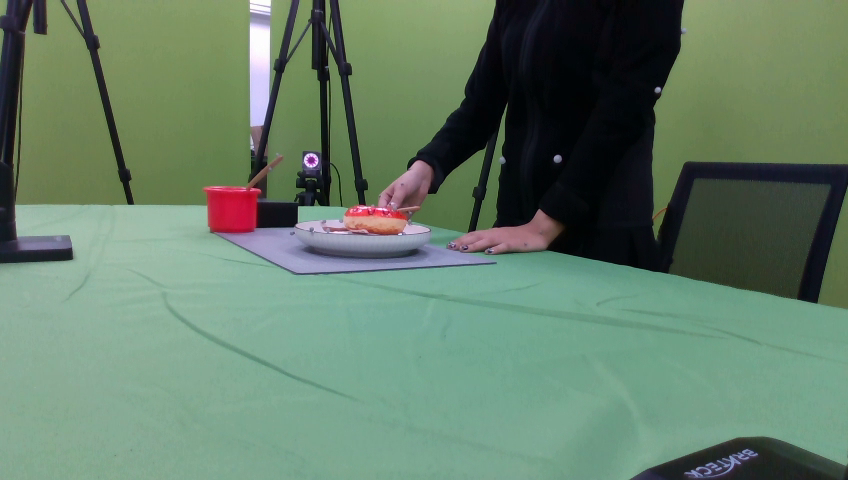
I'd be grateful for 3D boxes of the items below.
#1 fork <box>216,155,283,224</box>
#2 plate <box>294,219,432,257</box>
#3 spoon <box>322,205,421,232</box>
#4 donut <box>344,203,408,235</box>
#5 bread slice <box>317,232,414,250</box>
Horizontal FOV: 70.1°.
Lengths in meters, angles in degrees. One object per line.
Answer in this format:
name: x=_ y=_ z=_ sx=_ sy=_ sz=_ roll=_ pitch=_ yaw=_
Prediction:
fork: x=-0.304 y=-0.084 z=1.054 sx=0.207 sy=0.018 sz=0.028 roll=-42 pitch=-19 yaw=30
plate: x=-0.092 y=-0.003 z=0.923 sx=0.209 sy=0.038 sz=0.209 roll=3 pitch=7 yaw=0
spoon: x=-0.082 y=-0.037 z=1.005 sx=0.194 sy=0.021 sz=0.041 roll=-20 pitch=8 yaw=-34
donut: x=-0.074 y=-0.031 z=0.931 sx=0.099 sy=0.048 sz=0.099 roll=4 pitch=3 yaw=0
bread slice: x=-0.093 y=0.000 z=0.915 sx=0.132 sy=0.019 sz=0.104 roll=0 pitch=6 yaw=-26
